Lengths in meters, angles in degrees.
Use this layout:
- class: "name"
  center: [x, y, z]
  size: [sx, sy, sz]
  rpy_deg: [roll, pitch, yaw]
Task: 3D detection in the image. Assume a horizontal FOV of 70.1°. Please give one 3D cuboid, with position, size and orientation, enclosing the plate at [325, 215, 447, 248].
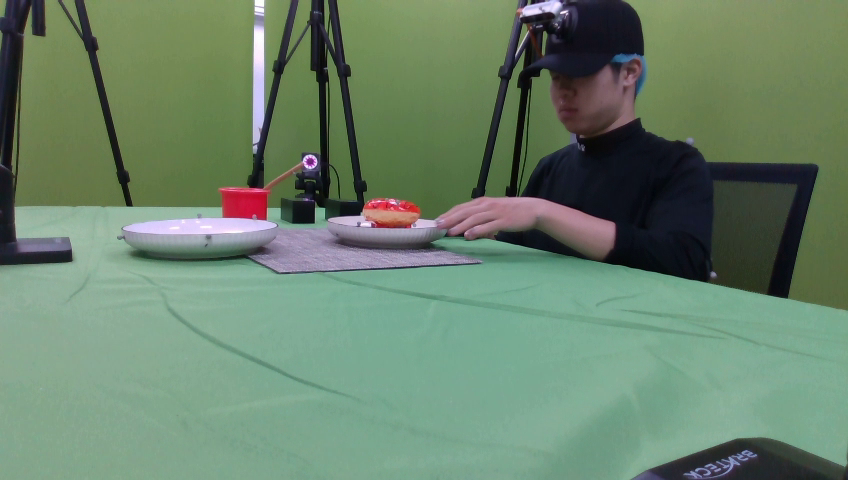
- class: "plate"
  center: [-0.065, -0.015, 1.034]
  size: [0.209, 0.038, 0.209]
  rpy_deg: [3, 8, 0]

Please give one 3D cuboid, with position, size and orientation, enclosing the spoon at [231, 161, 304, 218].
- class: "spoon"
  center: [-0.314, -0.096, 1.192]
  size: [0.194, 0.022, 0.041]
  rpy_deg: [-42, 13, -5]

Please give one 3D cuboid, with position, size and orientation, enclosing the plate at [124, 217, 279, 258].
- class: "plate"
  center: [-0.315, -0.004, 0.870]
  size: [0.208, 0.039, 0.207]
  rpy_deg: [1, 8, 0]

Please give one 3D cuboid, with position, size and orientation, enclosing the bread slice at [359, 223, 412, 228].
- class: "bread slice"
  center: [-0.062, -0.012, 1.034]
  size: [0.105, 0.019, 0.131]
  rpy_deg: [0, 9, -19]

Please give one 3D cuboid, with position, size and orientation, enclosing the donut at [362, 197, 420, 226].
- class: "donut"
  center: [-0.056, -0.048, 1.024]
  size: [0.099, 0.048, 0.099]
  rpy_deg: [4, 8, 0]
